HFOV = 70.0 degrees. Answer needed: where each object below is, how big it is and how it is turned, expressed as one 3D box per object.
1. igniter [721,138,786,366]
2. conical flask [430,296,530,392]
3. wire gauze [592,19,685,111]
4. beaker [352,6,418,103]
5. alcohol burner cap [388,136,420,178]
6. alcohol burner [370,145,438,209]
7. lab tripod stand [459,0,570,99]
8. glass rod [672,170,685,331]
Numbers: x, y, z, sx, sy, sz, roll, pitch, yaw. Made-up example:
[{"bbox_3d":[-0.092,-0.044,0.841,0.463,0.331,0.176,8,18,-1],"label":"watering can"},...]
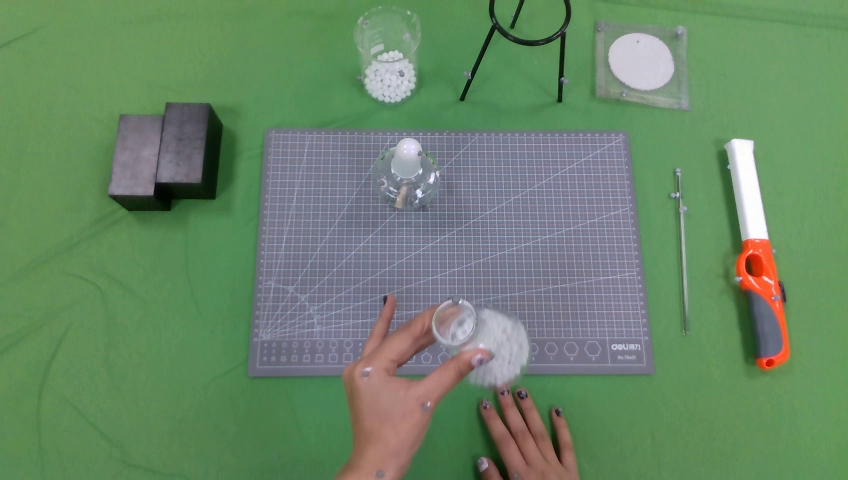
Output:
[{"bbox_3d":[0.386,0.009,0.712,0.057,0.025,0.275,3,74,-12],"label":"igniter"},{"bbox_3d":[0.041,0.080,0.495,0.075,0.123,0.075,-7,69,18],"label":"conical flask"},{"bbox_3d":[0.280,-0.231,0.788,0.125,0.011,0.121,7,75,-2],"label":"wire gauze"},{"bbox_3d":[-0.042,-0.219,0.725,0.084,0.101,0.073,-40,79,-12],"label":"beaker"},{"bbox_3d":[-0.019,-0.091,0.641,0.034,0.048,0.033,4,67,-9],"label":"alcohol burner cap"},{"bbox_3d":[-0.022,-0.079,0.675,0.078,0.119,0.077,1,73,-3],"label":"alcohol burner"},{"bbox_3d":[0.109,-0.231,0.717,0.148,0.132,0.147,0,76,-1],"label":"lab tripod stand"},{"bbox_3d":[0.302,0.009,0.719,0.008,0.008,0.198,5,74,-1],"label":"glass rod"}]
